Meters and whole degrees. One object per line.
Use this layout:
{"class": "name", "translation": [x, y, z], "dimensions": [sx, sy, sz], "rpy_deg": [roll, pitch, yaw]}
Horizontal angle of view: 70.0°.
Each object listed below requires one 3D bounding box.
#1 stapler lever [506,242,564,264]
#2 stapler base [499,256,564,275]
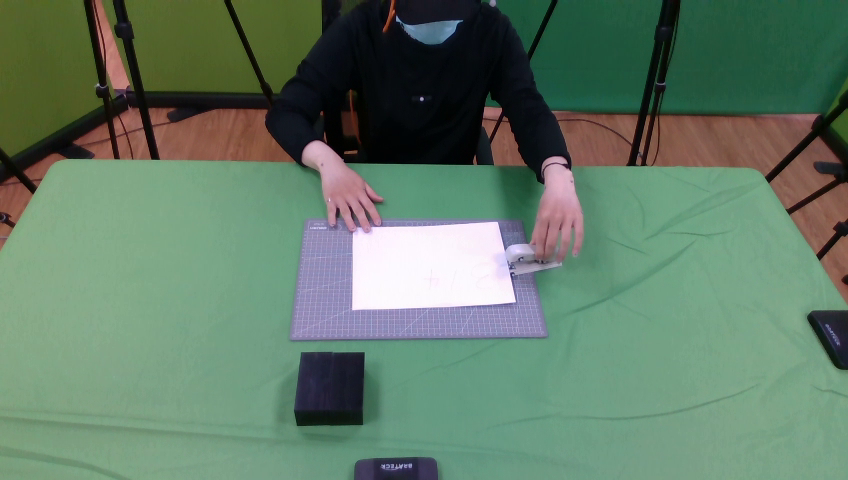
{"class": "stapler lever", "translation": [0.212, 0.019, 1.151], "dimensions": [0.118, 0.040, 0.026], "rpy_deg": [-10, 51, -18]}
{"class": "stapler base", "translation": [0.209, 0.037, 1.168], "dimensions": [0.131, 0.024, 0.041], "rpy_deg": [-10, 51, -18]}
